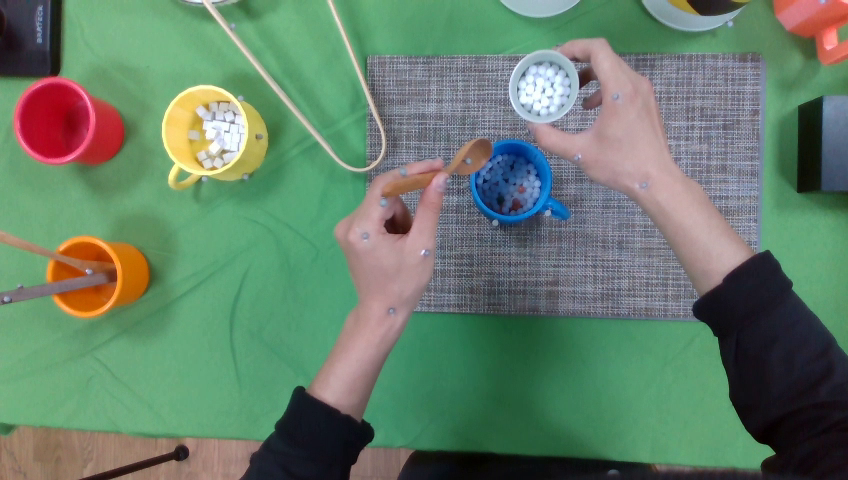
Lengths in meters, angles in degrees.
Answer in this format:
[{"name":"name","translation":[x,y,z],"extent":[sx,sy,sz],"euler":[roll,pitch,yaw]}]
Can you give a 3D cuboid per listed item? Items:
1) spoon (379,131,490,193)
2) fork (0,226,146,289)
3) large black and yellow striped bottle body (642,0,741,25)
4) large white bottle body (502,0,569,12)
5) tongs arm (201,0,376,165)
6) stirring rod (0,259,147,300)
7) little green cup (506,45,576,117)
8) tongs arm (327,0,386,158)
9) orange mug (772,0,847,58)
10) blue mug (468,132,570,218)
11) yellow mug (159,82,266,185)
[{"name":"spoon","translation":[0.015,-0.064,0.511],"extent":[0.021,0.193,0.042],"euler":[36,118,10]},{"name":"fork","translation":[-0.416,0.011,0.678],"extent":[0.209,0.018,0.028],"euler":[29,88,-40]},{"name":"large black and yellow striped bottle body","translation":[0.293,-0.305,0.599],"extent":[0.130,0.184,0.130],"euler":[0,91,5]},{"name":"large white bottle body","translation":[0.122,-0.326,0.610],"extent":[0.130,0.185,0.130],"euler":[0,91,5]},{"name":"tongs arm","translation":[-0.192,-0.233,0.691],"extent":[0.051,0.026,0.385],"euler":[-37,96,1]},{"name":"stirring rod","translation":[-0.407,0.046,0.685],"extent":[0.177,0.006,0.014],"euler":[-14,85,-37]},{"name":"little green cup","translation":[0.107,-0.142,0.548],"extent":[0.061,0.038,0.062],"euler":[2,101,13]},{"name":"tongs arm","translation":[-0.120,-0.278,0.688],"extent":[0.028,0.027,0.388],"euler":[-24,96,-4]},{"name":"orange mug","translation":[0.432,-0.260,0.632],"extent":[0.083,0.101,0.126],"euler":[-9,86,5]},{"name":"blue mug","translation":[0.105,-0.059,0.655],"extent":[0.116,0.106,0.082],"euler":[29,93,3]},{"name":"yellow mug","translation":[-0.253,-0.115,0.704],"extent":[0.100,0.064,0.131],"euler":[40,95,2]}]
